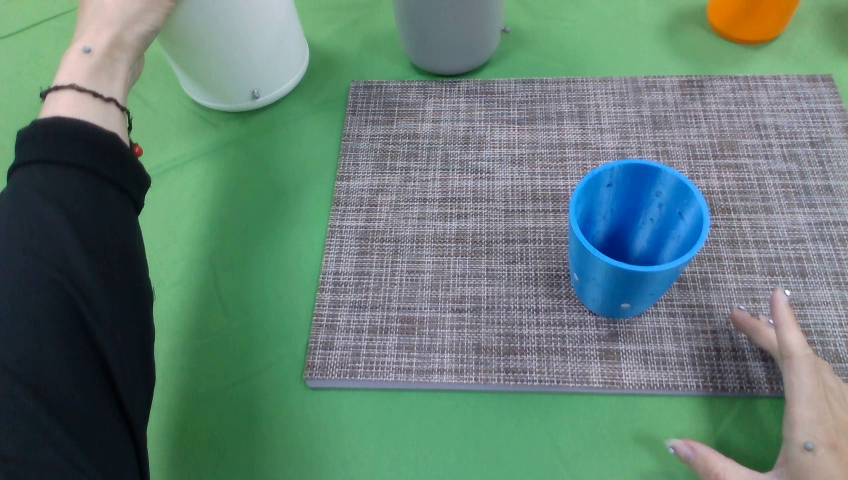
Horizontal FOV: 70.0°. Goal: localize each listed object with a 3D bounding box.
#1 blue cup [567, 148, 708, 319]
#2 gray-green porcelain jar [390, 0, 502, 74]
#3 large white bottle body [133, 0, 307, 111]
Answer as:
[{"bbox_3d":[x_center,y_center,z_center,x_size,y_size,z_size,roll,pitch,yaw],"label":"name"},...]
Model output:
[{"bbox_3d":[0.138,0.008,0.421,0.092,0.101,0.092,-3,58,5],"label":"blue cup"},{"bbox_3d":[0.020,-0.229,0.560,0.106,0.127,0.105,-2,59,4],"label":"gray-green porcelain jar"},{"bbox_3d":[-0.187,-0.222,0.537,0.130,0.186,0.129,-2,59,3],"label":"large white bottle body"}]
